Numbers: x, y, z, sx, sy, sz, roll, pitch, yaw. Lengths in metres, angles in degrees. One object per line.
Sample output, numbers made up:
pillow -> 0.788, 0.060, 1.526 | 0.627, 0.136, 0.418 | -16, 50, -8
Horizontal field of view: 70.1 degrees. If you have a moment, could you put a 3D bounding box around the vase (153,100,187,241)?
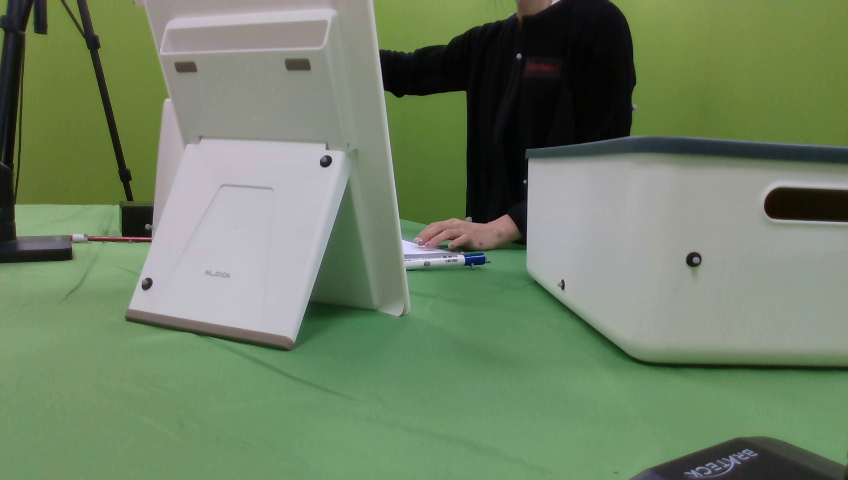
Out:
vase -> -0.278, -0.066, 0.736 | 0.098, 0.200, 0.098 | 2, 9, 0

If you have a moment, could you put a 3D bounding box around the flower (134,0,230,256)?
flower -> -0.282, -0.146, 0.713 | 0.038, 0.362, 0.044 | -23, 23, -31

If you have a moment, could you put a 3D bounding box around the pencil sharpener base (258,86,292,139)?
pencil sharpener base -> -0.342, -0.290, 1.387 | 0.061, 0.107, 0.076 | 3, 2, -25

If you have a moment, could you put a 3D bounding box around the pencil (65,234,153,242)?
pencil -> -0.429, -0.001, 0.910 | 0.195, 0.012, 0.012 | 1, 7, -19

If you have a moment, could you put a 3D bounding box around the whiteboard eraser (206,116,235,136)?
whiteboard eraser -> -0.450, -0.252, 1.335 | 0.056, 0.042, 0.112 | 1, 7, -22

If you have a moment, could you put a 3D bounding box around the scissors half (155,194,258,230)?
scissors half -> -0.378, -0.051, 1.058 | 0.176, 0.040, 0.012 | 20, 22, -31

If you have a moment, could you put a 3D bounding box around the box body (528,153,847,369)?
box body -> 0.258, -0.005, 0.591 | 0.254, 0.160, 0.363 | 2, 7, -4

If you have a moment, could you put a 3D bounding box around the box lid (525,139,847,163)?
box lid -> 0.261, -0.078, 0.580 | 0.264, 0.015, 0.371 | 2, 7, -4

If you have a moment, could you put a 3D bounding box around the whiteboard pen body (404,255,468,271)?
whiteboard pen body -> 0.013, 0.030, 0.792 | 0.141, 0.017, 0.017 | -3, 9, -24

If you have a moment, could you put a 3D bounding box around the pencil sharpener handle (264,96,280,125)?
pencil sharpener handle -> -0.366, -0.305, 1.431 | 0.036, 0.067, 0.030 | 15, -4, -25

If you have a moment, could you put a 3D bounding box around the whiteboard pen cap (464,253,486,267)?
whiteboard pen cap -> 0.066, 0.027, 0.818 | 0.033, 0.018, 0.018 | -5, 10, -24

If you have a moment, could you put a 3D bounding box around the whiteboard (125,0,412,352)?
whiteboard -> -0.151, -0.049, 0.472 | 0.216, 0.305, 0.144 | 6, 27, 24

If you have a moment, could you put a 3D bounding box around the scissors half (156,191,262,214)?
scissors half -> -0.371, -0.069, 1.051 | 0.176, 0.040, 0.013 | 2, 25, -24
